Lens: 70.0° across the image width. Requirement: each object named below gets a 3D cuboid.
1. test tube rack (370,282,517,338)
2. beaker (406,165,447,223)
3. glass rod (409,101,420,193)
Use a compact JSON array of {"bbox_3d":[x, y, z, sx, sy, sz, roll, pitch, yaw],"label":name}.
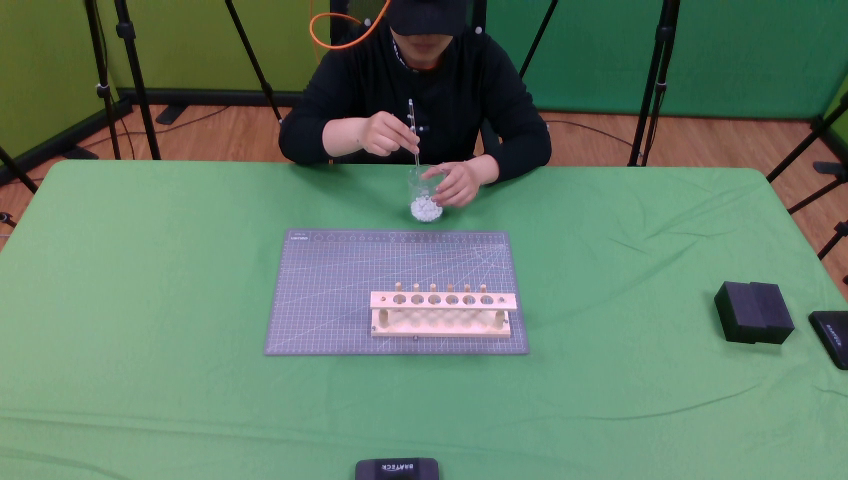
[{"bbox_3d":[0.030,0.116,1.041,0.242,0.085,0.066,1,46,-3],"label":"test tube rack"},{"bbox_3d":[0.006,-0.092,1.222,0.084,0.101,0.073,-16,49,-14],"label":"beaker"},{"bbox_3d":[-0.018,-0.168,1.125,0.008,0.201,0.008,-3,42,3],"label":"glass rod"}]
